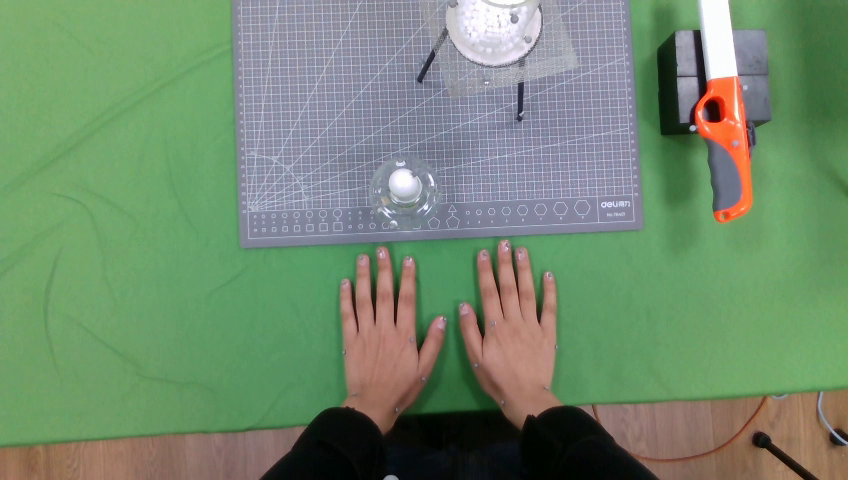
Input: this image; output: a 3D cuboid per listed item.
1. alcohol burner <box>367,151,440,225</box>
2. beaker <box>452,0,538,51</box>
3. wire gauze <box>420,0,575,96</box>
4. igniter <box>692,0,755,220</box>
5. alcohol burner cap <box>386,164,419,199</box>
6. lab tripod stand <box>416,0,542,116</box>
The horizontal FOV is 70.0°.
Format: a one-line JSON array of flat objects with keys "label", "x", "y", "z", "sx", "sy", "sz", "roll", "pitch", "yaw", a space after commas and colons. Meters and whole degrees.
[{"label": "alcohol burner", "x": -0.021, "y": -0.055, "z": 0.620, "sx": 0.078, "sy": 0.119, "sz": 0.078, "roll": 0, "pitch": 88, "yaw": -2}, {"label": "beaker", "x": 0.059, "y": -0.208, "z": 0.506, "sx": 0.084, "sy": 0.100, "sz": 0.074, "roll": -4, "pitch": 85, "yaw": -1}, {"label": "wire gauze", "x": 0.064, "y": -0.202, "z": 0.554, "sx": 0.125, "sy": 0.011, "sz": 0.121, "roll": -16, "pitch": 88, "yaw": -4}, {"label": "igniter", "x": 0.309, "y": -0.159, "z": 0.634, "sx": 0.057, "sy": 0.025, "sz": 0.276, "roll": -4, "pitch": 87, "yaw": 9}, {"label": "alcohol burner cap", "x": -0.022, "y": -0.059, "z": 0.584, "sx": 0.034, "sy": 0.048, "sz": 0.034, "roll": 0, "pitch": 87, "yaw": 0}, {"label": "lab tripod stand", "x": 0.063, "y": -0.204, "z": 0.620, "sx": 0.148, "sy": 0.131, "sz": 0.148, "roll": 0, "pitch": 85, "yaw": 0}]
